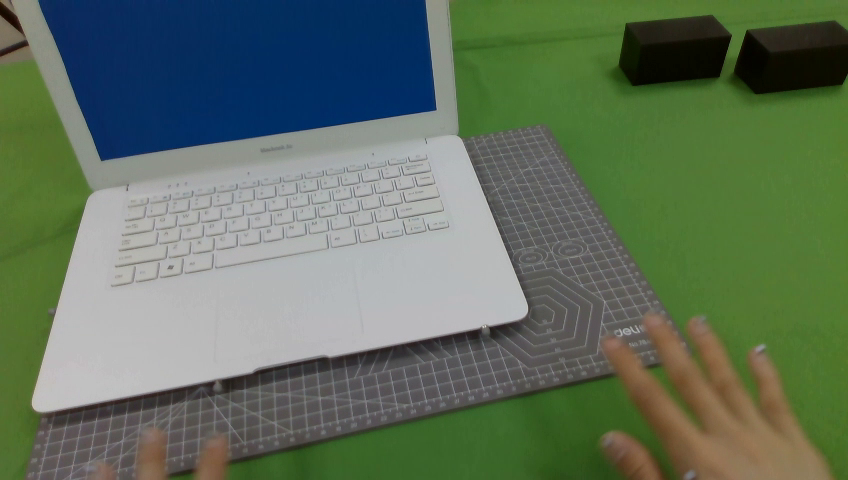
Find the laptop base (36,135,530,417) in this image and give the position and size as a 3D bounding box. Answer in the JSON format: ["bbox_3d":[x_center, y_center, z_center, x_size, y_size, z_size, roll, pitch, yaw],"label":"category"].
[{"bbox_3d":[-0.113,0.012,0.507,0.355,0.023,0.233,-10,49,-6],"label":"laptop base"}]

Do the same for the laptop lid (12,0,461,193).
[{"bbox_3d":[-0.148,-0.170,0.529,0.357,0.244,0.013,-12,31,-5],"label":"laptop lid"}]
